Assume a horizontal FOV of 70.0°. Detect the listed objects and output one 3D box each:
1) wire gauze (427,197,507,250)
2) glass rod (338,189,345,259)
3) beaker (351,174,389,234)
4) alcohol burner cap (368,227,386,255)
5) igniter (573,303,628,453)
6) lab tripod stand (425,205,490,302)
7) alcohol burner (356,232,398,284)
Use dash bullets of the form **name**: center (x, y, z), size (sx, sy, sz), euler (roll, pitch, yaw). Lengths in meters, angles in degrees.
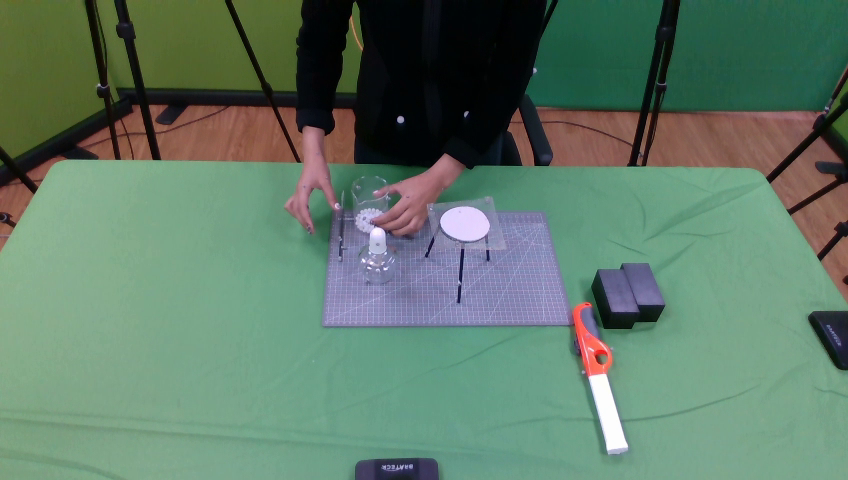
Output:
- **wire gauze**: center (0.073, -0.028, 1.055), size (0.125, 0.011, 0.120), euler (-3, 48, -7)
- **glass rod**: center (-0.166, -0.037, 1.226), size (0.008, 0.008, 0.198), euler (0, 47, -3)
- **beaker**: center (-0.107, -0.066, 1.197), size (0.074, 0.101, 0.083), euler (21, 50, 16)
- **alcohol burner cap**: center (-0.084, -0.001, 1.075), size (0.034, 0.048, 0.033), euler (1, 42, -1)
- **igniter**: center (0.288, 0.217, 1.006), size (0.057, 0.025, 0.274), euler (-10, 46, 8)
- **lab tripod stand**: center (0.069, 0.017, 1.106), size (0.148, 0.132, 0.147), euler (3, 47, -3)
- **alcohol burner**: center (-0.085, 0.024, 1.102), size (0.078, 0.119, 0.077), euler (3, 48, -3)
